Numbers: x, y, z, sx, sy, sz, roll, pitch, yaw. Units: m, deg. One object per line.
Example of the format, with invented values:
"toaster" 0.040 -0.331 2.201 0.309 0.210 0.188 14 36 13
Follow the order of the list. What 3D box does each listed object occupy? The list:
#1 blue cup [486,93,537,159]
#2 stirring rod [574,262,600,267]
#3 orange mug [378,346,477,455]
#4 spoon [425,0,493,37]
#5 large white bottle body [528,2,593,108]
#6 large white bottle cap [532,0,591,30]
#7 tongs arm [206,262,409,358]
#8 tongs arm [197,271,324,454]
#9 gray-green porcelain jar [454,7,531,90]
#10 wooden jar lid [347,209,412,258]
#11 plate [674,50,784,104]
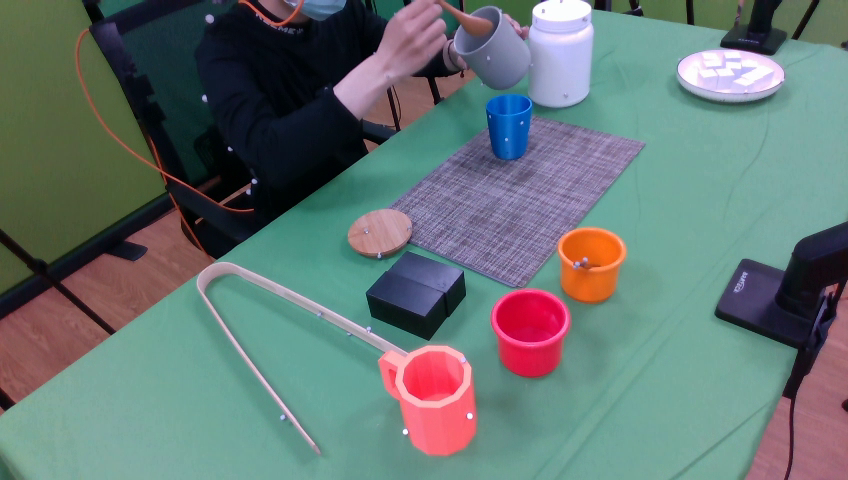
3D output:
"blue cup" 0.160 -0.209 1.129 0.092 0.100 0.092 -4 39 4
"stirring rod" 0.222 0.033 0.816 0.014 0.006 0.177 8 1 22
"orange mug" 0.002 0.179 0.708 0.125 0.101 0.083 25 50 27
"spoon" 0.036 -0.361 0.950 0.041 0.195 0.021 -23 61 46
"large white bottle body" 0.283 -0.386 1.259 0.130 0.185 0.130 -4 41 4
"large white bottle cap" 0.274 -0.450 1.204 0.115 0.018 0.114 -4 41 4
"tongs arm" -0.179 0.106 0.870 0.382 0.027 0.051 23 55 32
"tongs arm" -0.236 0.154 0.831 0.028 0.028 0.384 -37 48 -17
"gray-green porcelain jar" 0.134 -0.354 1.141 0.105 0.128 0.105 -21 53 31
"wooden jar lid" -0.071 -0.010 0.997 0.108 0.021 0.108 -5 44 5
"plate" 0.631 -0.336 1.262 0.207 0.039 0.206 -4 41 4
